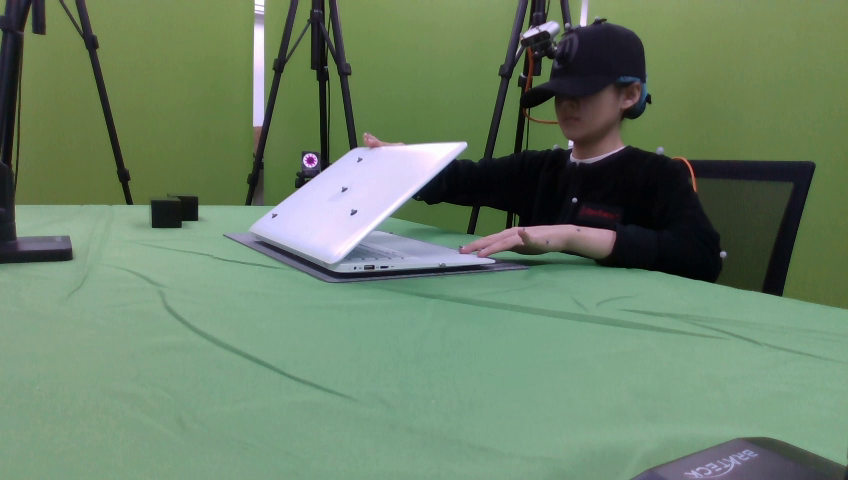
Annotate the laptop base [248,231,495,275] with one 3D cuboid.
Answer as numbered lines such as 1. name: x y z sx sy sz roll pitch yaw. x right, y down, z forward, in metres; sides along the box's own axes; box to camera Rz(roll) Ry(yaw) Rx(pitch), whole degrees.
1. laptop base: -0.093 0.016 0.884 0.237 0.023 0.352 3 6 -32

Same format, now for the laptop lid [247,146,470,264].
1. laptop lid: -0.112 -0.067 0.858 0.242 0.013 0.355 -40 26 -19
